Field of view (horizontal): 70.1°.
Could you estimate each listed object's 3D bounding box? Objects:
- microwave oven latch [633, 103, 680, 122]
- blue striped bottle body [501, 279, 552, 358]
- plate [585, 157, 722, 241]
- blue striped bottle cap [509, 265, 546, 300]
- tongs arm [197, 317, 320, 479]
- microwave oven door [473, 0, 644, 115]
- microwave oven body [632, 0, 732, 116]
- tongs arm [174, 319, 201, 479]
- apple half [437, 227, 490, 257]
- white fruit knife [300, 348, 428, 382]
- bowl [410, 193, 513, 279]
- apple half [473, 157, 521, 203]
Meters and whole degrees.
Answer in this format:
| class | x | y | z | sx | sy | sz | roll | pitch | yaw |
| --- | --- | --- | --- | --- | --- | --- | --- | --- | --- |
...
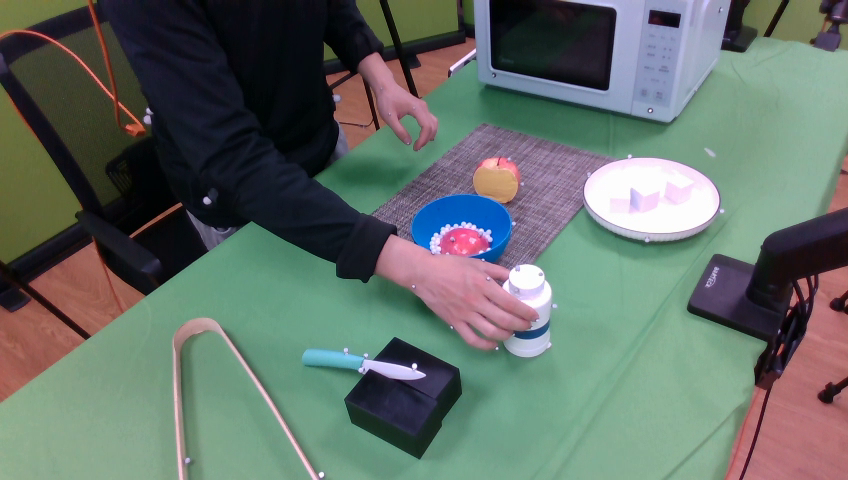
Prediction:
| class | x | y | z | sx | sy | sz | roll | pitch | yaw |
| --- | --- | --- | --- | --- | --- | --- | --- | --- | --- |
| microwave oven latch | 0.444 | -0.249 | 1.157 | 0.078 | 0.029 | 0.030 | 21 | 49 | 30 |
| blue striped bottle body | 0.130 | 0.089 | 0.769 | 0.063 | 0.121 | 0.063 | -4 | 41 | 4 |
| plate | 0.367 | -0.063 | 0.979 | 0.207 | 0.039 | 0.206 | -4 | 40 | 4 |
| blue striped bottle cap | 0.126 | 0.051 | 0.735 | 0.044 | 0.021 | 0.044 | -5 | 39 | 5 |
| tongs arm | -0.199 | 0.207 | 0.750 | 0.028 | 0.028 | 0.384 | -31 | 45 | -22 |
| microwave oven door | 0.257 | -0.396 | 1.199 | 0.353 | 0.245 | 0.039 | 21 | 48 | 29 |
| microwave oven body | 0.377 | -0.462 | 1.267 | 0.438 | 0.261 | 0.327 | 21 | 48 | 30 |
| tongs arm | -0.272 | 0.234 | 0.723 | 0.051 | 0.026 | 0.381 | -19 | 40 | -15 |
| apple half | 0.056 | 0.001 | 0.902 | 0.081 | 0.033 | 0.081 | -3 | 41 | 3 |
| white fruit knife | -0.080 | 0.154 | 0.748 | 0.206 | 0.027 | 0.016 | 1 | 20 | 35 |
| bowl | 0.058 | 0.004 | 0.905 | 0.151 | 0.077 | 0.150 | -3 | 40 | 3 |
| apple half | 0.128 | -0.107 | 1.030 | 0.080 | 0.075 | 0.053 | 4 | 38 | 19 |
